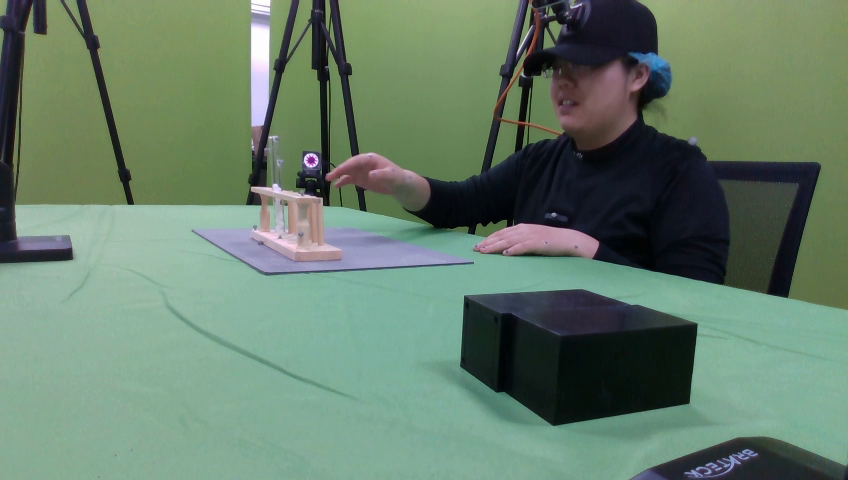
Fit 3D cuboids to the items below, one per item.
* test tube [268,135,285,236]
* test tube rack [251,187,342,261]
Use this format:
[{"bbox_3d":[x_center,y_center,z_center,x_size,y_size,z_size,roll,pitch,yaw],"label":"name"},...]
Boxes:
[{"bbox_3d":[-0.220,-0.081,0.902,0.017,0.150,0.017,-2,6,1],"label":"test tube"},{"bbox_3d":[-0.196,-0.030,0.902,0.067,0.085,0.241,-2,8,-29],"label":"test tube rack"}]
